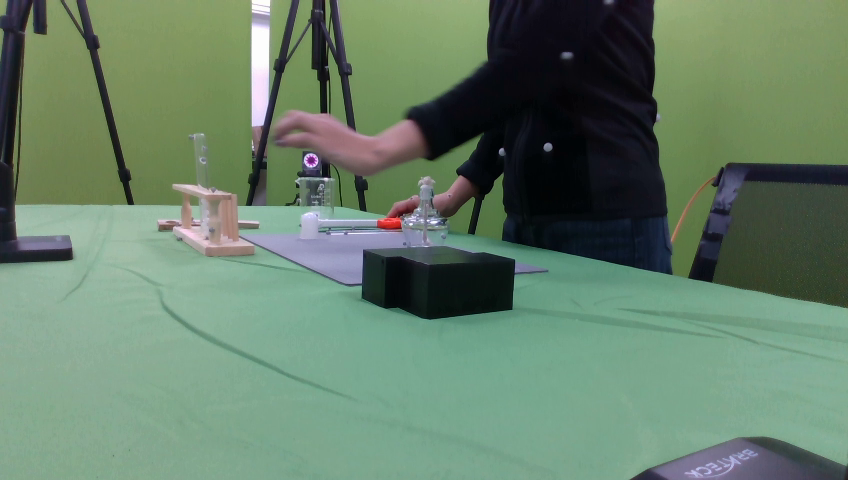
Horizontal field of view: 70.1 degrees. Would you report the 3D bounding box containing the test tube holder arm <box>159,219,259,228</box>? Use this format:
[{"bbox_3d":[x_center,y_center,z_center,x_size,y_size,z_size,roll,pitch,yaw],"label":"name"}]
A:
[{"bbox_3d":[-0.390,-0.030,1.107,0.179,0.015,0.013,-4,45,-39],"label":"test tube holder arm"}]

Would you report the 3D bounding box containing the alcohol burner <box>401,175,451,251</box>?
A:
[{"bbox_3d":[0.004,-0.042,0.947,0.078,0.119,0.078,1,9,0],"label":"alcohol burner"}]

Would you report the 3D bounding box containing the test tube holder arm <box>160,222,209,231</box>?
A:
[{"bbox_3d":[-0.423,-0.025,1.076,0.088,0.015,0.010,-3,45,-38],"label":"test tube holder arm"}]

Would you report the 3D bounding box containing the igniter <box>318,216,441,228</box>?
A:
[{"bbox_3d":[-0.090,-0.035,1.222,0.278,0.025,0.057,-2,0,-31],"label":"igniter"}]

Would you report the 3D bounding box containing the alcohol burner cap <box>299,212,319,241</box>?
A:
[{"bbox_3d":[-0.195,-0.024,1.025,0.034,0.048,0.034,3,7,0],"label":"alcohol burner cap"}]

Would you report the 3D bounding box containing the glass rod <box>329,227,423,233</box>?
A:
[{"bbox_3d":[-0.087,-0.019,1.148,0.201,0.008,0.008,-3,8,-32],"label":"glass rod"}]

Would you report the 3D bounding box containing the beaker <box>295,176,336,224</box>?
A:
[{"bbox_3d":[-0.224,-0.080,1.247,0.084,0.100,0.073,-1,8,-18],"label":"beaker"}]

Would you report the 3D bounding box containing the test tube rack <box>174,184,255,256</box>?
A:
[{"bbox_3d":[-0.327,-0.036,0.928,0.067,0.085,0.241,-2,9,-32],"label":"test tube rack"}]

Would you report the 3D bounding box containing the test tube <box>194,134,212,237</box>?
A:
[{"bbox_3d":[-0.320,-0.079,0.880,0.017,0.150,0.017,-3,3,1],"label":"test tube"}]
